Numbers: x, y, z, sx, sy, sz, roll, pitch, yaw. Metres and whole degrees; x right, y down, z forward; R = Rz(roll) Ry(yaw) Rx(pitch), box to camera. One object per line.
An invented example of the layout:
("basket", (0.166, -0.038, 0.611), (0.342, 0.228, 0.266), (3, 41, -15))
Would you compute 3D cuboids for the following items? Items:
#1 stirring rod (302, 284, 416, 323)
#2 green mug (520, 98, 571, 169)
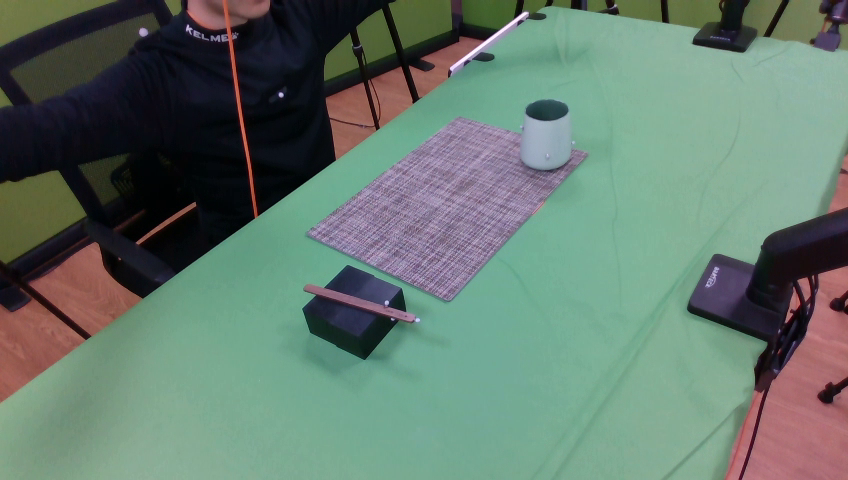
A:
("stirring rod", (-0.091, 0.085, 0.819), (0.175, 0.006, 0.014), (13, 48, 22))
("green mug", (0.216, -0.200, 1.100), (0.093, 0.105, 0.124), (-14, 41, -6))
